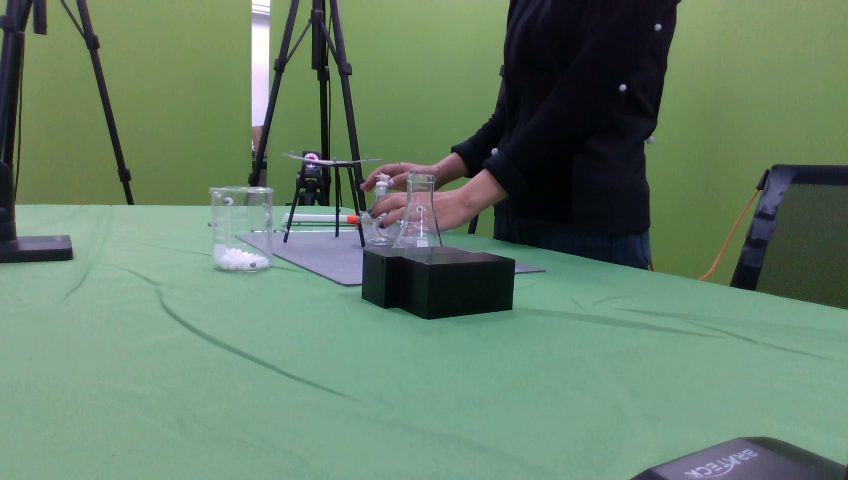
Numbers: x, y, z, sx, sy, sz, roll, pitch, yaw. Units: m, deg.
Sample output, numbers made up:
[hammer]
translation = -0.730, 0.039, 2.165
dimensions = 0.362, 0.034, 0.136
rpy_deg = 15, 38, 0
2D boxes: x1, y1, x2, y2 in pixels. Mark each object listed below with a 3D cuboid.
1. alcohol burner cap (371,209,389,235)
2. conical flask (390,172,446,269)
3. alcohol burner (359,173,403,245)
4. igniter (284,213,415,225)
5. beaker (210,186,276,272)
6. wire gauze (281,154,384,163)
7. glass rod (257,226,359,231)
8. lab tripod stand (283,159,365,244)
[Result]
[alcohol burner cap]
translation = -0.082, -0.035, 1.143
dimensions = 0.034, 0.048, 0.034
rpy_deg = 3, 7, 0
[conical flask]
translation = -0.006, -0.027, 0.790
dimensions = 0.075, 0.122, 0.075
rpy_deg = 2, 7, 0
[alcohol burner]
translation = -0.072, -0.052, 1.000
dimensions = 0.078, 0.119, 0.078
rpy_deg = 2, 5, 0
[igniter]
translation = -0.154, -0.045, 1.282
dimensions = 0.278, 0.025, 0.057
rpy_deg = 0, -3, -20
[beaker]
translation = -0.224, -0.014, 0.738
dimensions = 0.084, 0.100, 0.074
rpy_deg = 4, 7, 16
[wire gauze]
translation = -0.146, -0.130, 0.977
dimensions = 0.124, 0.011, 0.122
rpy_deg = 9, 10, 41
[glass rod]
translation = -0.216, -0.022, 1.152
dimensions = 0.201, 0.008, 0.008
rpy_deg = -2, 8, -28
[lab tripod stand]
translation = -0.151, -0.063, 0.983
dimensions = 0.148, 0.131, 0.148
rpy_deg = 4, 7, 0
